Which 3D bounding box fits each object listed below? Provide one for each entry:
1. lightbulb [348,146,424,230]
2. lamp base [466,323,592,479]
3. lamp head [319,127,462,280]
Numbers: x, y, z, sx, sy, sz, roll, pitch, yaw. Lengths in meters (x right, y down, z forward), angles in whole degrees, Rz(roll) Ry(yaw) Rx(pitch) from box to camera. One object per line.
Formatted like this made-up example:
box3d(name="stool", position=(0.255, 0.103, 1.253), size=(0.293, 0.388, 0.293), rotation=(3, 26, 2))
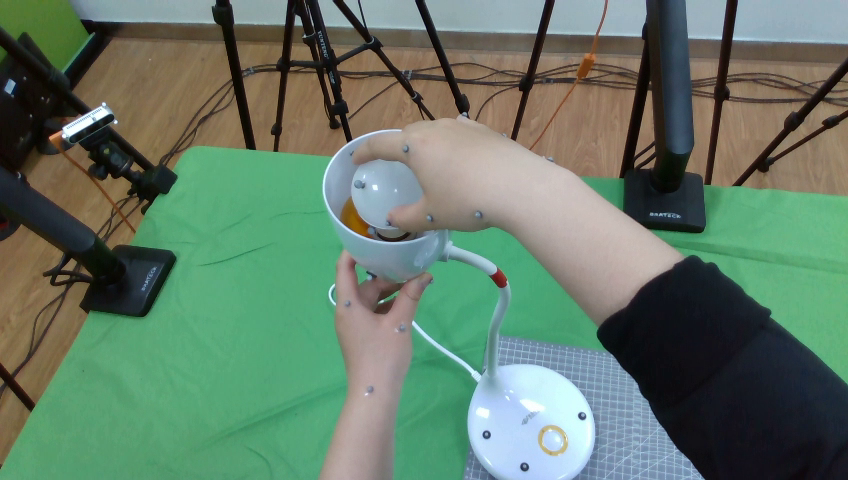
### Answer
box3d(name="lightbulb", position=(-0.030, -0.034, 0.494), size=(0.059, 0.108, 0.059), rotation=(1, 68, -2))
box3d(name="lamp base", position=(0.114, 0.178, 0.717), size=(0.177, 0.182, 0.160), rotation=(30, 63, 28))
box3d(name="lamp head", position=(-0.022, -0.017, 0.517), size=(0.112, 0.124, 0.111), rotation=(-2, 58, 4))
